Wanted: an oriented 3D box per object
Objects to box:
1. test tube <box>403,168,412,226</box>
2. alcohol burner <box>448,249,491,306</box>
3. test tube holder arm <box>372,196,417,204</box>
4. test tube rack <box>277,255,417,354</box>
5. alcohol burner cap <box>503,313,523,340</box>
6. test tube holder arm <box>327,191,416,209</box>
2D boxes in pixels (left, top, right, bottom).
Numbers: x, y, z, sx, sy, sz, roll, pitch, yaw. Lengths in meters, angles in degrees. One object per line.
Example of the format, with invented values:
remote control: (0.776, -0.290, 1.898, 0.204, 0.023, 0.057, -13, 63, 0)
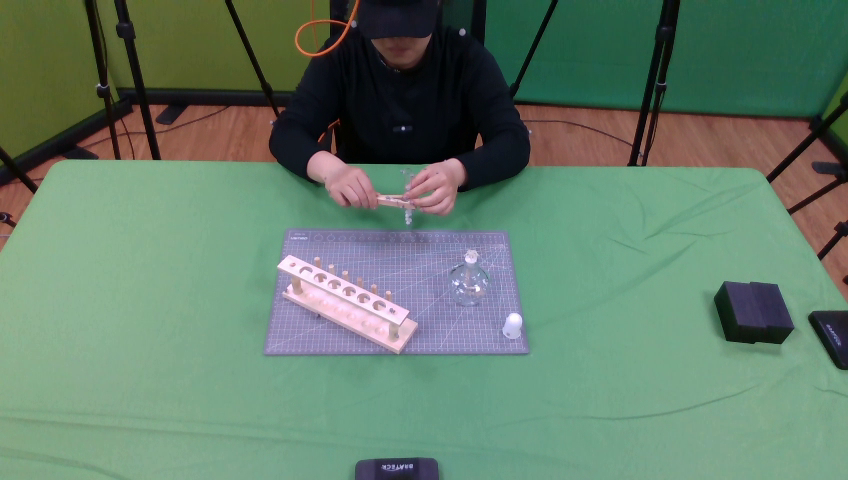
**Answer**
test tube: (-0.031, -0.079, 1.157, 0.017, 0.151, 0.017, 0, 50, 0)
alcohol burner: (0.081, 0.062, 1.078, 0.078, 0.120, 0.077, 1, 45, -1)
test tube holder arm: (-0.057, -0.078, 1.171, 0.088, 0.015, 0.010, 0, 37, 1)
test tube rack: (-0.131, 0.099, 1.045, 0.241, 0.085, 0.066, 23, 49, 17)
alcohol burner cap: (0.156, 0.148, 1.051, 0.034, 0.048, 0.033, 1, 45, -1)
test tube holder arm: (-0.102, -0.078, 1.172, 0.178, 0.015, 0.013, 7, 37, 10)
